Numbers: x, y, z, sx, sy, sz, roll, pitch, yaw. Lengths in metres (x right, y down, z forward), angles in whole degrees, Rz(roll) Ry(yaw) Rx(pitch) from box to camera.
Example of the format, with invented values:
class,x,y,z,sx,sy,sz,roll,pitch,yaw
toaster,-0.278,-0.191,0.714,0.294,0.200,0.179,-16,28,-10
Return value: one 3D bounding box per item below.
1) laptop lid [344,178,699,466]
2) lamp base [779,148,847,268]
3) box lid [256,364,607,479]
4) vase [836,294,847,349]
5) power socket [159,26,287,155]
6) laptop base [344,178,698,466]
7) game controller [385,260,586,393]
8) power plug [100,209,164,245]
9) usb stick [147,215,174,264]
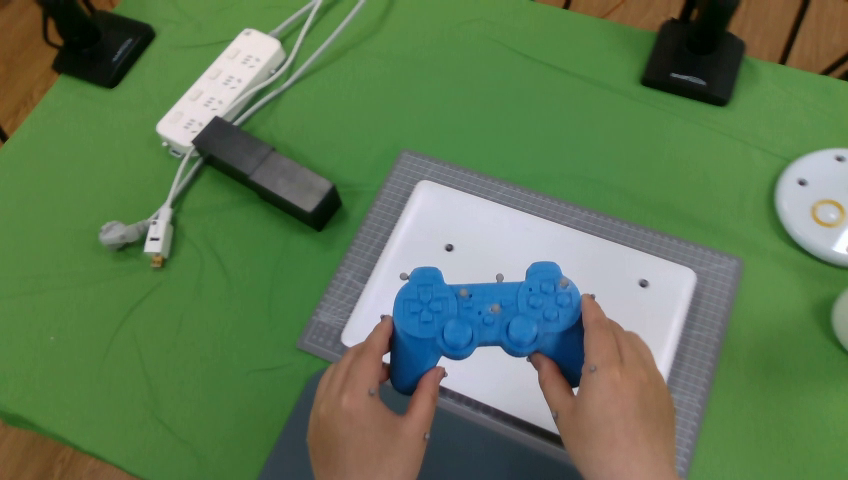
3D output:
class,x,y,z,sx,sy,sz,roll,pitch,yaw
laptop lid,0.109,0.077,0.692,0.355,0.013,0.240,22,71,13
lamp base,0.514,-0.078,0.658,0.179,0.181,0.159,-30,67,-12
box lid,-0.007,0.304,0.616,0.370,0.015,0.262,20,69,13
vase,0.492,0.060,0.586,0.098,0.201,0.097,-2,63,5
power socket,-0.281,-0.215,0.857,0.072,0.033,0.226,29,70,15
laptop base,0.111,0.079,0.703,0.353,0.023,0.234,20,72,12
game controller,0.047,0.065,0.468,0.155,0.052,0.096,-2,70,0
power plug,-0.379,-0.018,0.783,0.052,0.035,0.072,14,26,35
usb stick,-0.333,0.000,0.765,0.021,0.027,0.059,3,73,-3
